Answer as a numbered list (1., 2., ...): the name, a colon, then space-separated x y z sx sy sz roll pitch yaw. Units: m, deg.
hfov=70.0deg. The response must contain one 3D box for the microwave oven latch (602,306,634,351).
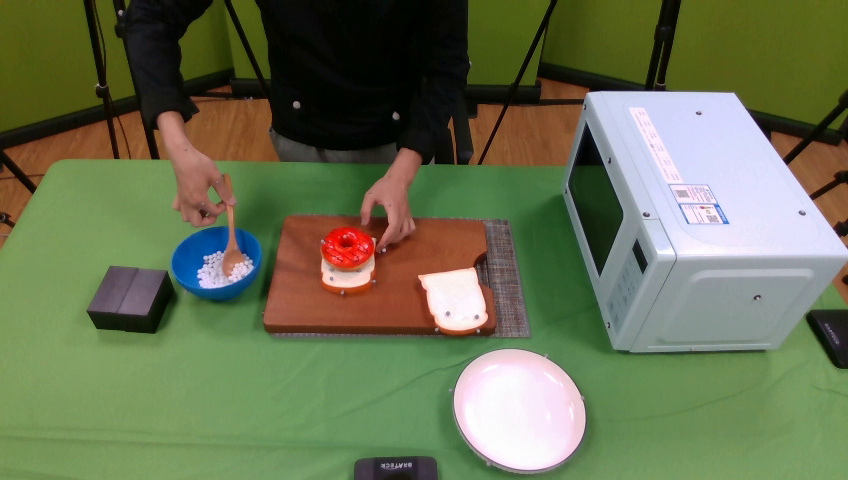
1. microwave oven latch: 0.332 0.153 1.044 0.030 0.029 0.078 0 45 -4

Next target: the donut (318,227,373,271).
1. donut: -0.142 0.017 1.096 0.099 0.048 0.098 2 44 -2

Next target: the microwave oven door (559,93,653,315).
1. microwave oven door: 0.327 -0.074 1.123 0.039 0.245 0.353 -1 46 -5

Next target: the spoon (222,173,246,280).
1. spoon: -0.344 -0.025 1.080 0.042 0.021 0.193 -4 90 -17

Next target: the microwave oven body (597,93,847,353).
1. microwave oven body: 0.475 -0.041 1.109 0.326 0.261 0.438 -1 45 -4

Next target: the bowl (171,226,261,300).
1. bowl: -0.363 0.054 1.081 0.151 0.077 0.150 3 45 -3

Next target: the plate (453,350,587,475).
1. plate: 0.147 0.267 0.943 0.208 0.039 0.206 2 45 -2

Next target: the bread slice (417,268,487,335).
1. bread slice: 0.055 0.107 1.063 0.107 0.018 0.133 -9 48 -12

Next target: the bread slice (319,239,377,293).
1. bread slice: -0.140 0.044 1.111 0.105 0.019 0.130 0 44 -3
